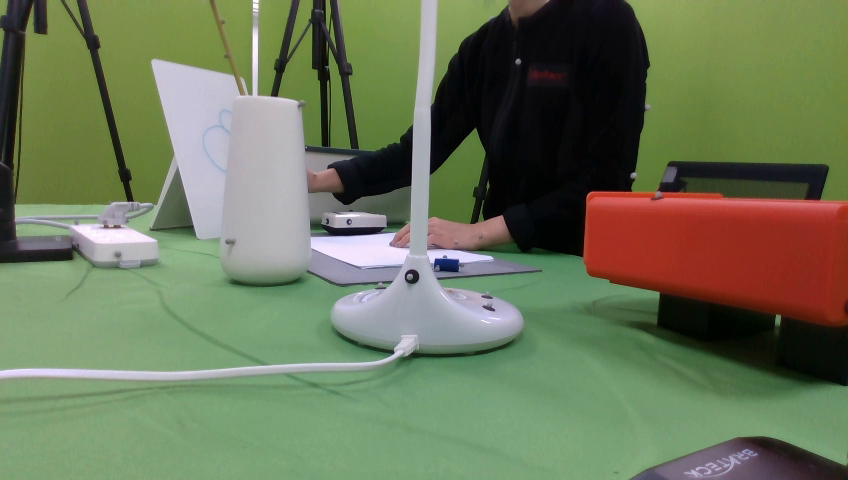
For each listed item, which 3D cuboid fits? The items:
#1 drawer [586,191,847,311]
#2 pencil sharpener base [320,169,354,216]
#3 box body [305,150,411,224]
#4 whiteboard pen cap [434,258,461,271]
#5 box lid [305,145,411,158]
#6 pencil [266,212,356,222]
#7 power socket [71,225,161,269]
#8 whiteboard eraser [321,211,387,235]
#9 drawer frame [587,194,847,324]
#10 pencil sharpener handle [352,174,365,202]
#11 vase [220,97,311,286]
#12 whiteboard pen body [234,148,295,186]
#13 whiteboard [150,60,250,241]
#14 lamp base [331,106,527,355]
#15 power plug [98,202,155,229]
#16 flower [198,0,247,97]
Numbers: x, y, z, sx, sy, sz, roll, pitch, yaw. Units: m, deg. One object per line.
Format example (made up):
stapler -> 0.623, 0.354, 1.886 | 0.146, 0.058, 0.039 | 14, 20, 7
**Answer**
drawer -> 0.281, 0.000, 0.513 | 0.195, 0.073, 0.210 | -1, 7, -29
pencil sharpener base -> -0.207, -0.113, 1.439 | 0.077, 0.107, 0.061 | 1, 6, -11
box body -> -0.230, -0.126, 1.372 | 0.366, 0.160, 0.253 | -2, 9, -33
whiteboard pen cap -> 0.029, 0.031, 0.770 | 0.033, 0.018, 0.018 | 4, 8, 8
box lid -> -0.228, -0.200, 1.361 | 0.373, 0.015, 0.262 | -1, 8, -33
pencil -> -0.244, -0.049, 1.318 | 0.195, 0.012, 0.012 | 4, 7, -12
power socket -> -0.408, 0.004, 0.793 | 0.072, 0.032, 0.225 | -2, 8, -38
whiteboard eraser -> -0.128, -0.031, 1.108 | 0.113, 0.042, 0.055 | -4, 8, -38
drawer frame -> 0.285, 0.004, 0.508 | 0.203, 0.082, 0.212 | -1, 6, -29
pencil sharpener handle -> -0.156, -0.125, 1.450 | 0.031, 0.068, 0.036 | 1, 20, -11
vase -> -0.172, -0.052, 0.662 | 0.098, 0.200, 0.098 | 3, 8, 0
whiteboard pen body -> -0.277, -0.122, 1.035 | 0.140, 0.017, 0.017 | -23, -4, 25
whiteboard -> -0.408, -0.139, 1.093 | 0.143, 0.305, 0.218 | -15, -1, 26
lamp base -> 0.006, -0.012, 0.478 | 0.161, 0.180, 0.179 | 2, 10, 2
power plug -> -0.416, -0.027, 0.848 | 0.073, 0.052, 0.035 | 0, 8, -28
flower -> -0.187, -0.133, 0.648 | 0.038, 0.362, 0.044 | -1, 22, 43
